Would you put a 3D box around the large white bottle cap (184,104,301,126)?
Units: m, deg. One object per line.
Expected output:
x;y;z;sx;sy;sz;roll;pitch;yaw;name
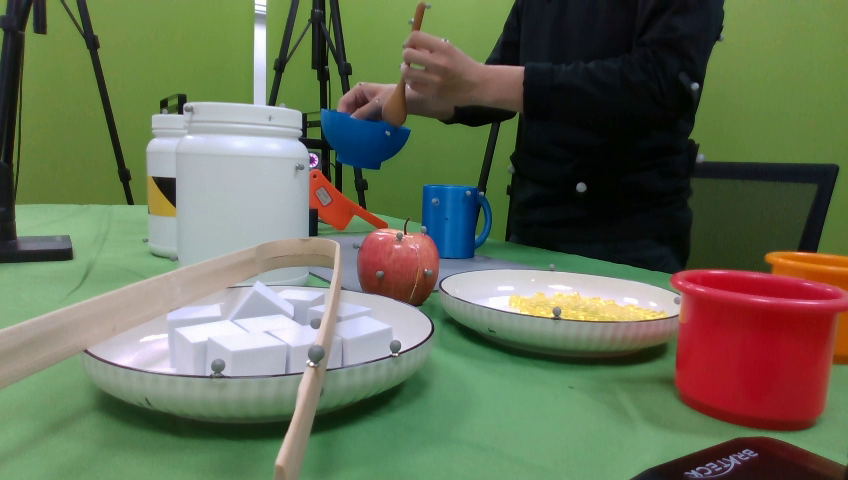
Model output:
-0.184;-0.126;0.618;0.115;0.018;0.115;2;8;0;large white bottle cap

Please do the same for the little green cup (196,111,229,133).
-0.403;-0.225;1.154;0.061;0.038;0.061;3;8;0;little green cup

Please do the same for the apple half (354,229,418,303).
-0.044;0.027;0.564;0.081;0.081;0.033;9;5;42;apple half

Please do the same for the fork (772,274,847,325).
0.332;0.018;0.443;0.028;0.018;0.207;-1;-36;-15;fork

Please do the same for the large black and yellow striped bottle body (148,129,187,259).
-0.310;-0.073;0.838;0.131;0.184;0.130;2;8;0;large black and yellow striped bottle body

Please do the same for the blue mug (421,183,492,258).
0.052;-0.032;0.912;0.117;0.106;0.082;-1;8;-24;blue mug

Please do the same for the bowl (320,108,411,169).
-0.102;-0.163;0.998;0.151;0.077;0.151;12;13;-3;bowl

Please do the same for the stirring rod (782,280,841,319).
0.344;0.019;0.461;0.014;0.006;0.176;-13;-27;-30;stirring rod

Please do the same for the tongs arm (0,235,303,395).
-0.157;0.038;0.351;0.028;0.028;0.388;-3;9;12;tongs arm

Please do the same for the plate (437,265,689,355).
0.114;0.057;0.517;0.209;0.038;0.209;3;8;0;plate

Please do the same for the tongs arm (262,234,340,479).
-0.074;0.039;0.349;0.051;0.026;0.384;-2;10;-3;tongs arm

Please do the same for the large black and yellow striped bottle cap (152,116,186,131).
-0.309;-0.155;0.826;0.115;0.019;0.115;3;6;0;large black and yellow striped bottle cap

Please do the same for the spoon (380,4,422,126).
-0.030;-0.253;0.892;0.041;0.193;0.021;21;33;6;spoon

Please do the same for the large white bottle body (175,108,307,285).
-0.188;-0.042;0.630;0.131;0.184;0.130;2;8;0;large white bottle body

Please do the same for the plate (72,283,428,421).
-0.102;0.066;0.381;0.208;0.039;0.207;2;7;0;plate

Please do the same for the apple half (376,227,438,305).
-0.017;0.026;0.593;0.080;0.074;0.053;4;2;43;apple half

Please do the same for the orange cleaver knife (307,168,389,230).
-0.158;-0.060;1.166;0.212;0.077;0.012;34;-12;-32;orange cleaver knife
